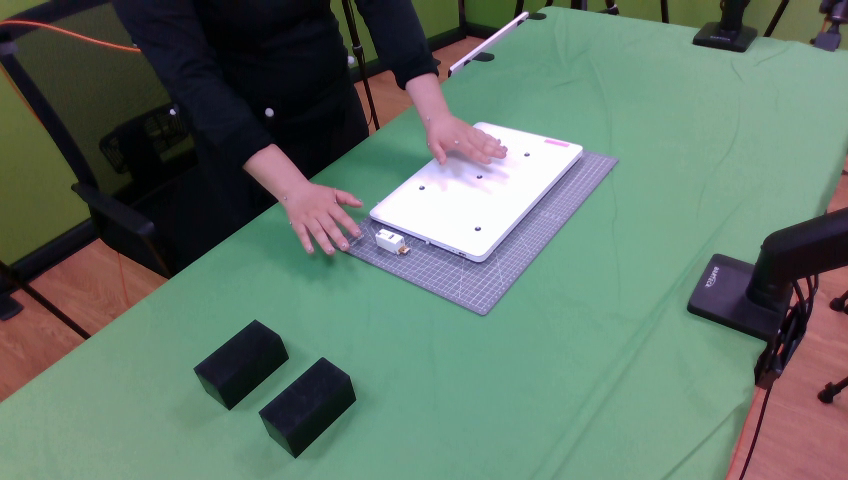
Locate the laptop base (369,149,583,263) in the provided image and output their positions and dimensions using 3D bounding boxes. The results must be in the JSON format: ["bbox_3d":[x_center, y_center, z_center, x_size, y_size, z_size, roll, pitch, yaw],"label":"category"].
[{"bbox_3d":[0.101,-0.096,1.071,0.233,0.023,0.355,20,47,33],"label":"laptop base"}]

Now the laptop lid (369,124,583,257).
[{"bbox_3d":[0.097,-0.106,1.065,0.239,0.013,0.358,22,48,33],"label":"laptop lid"}]

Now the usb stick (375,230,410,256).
[{"bbox_3d":[-0.049,0.007,0.962,0.059,0.027,0.021,25,47,28],"label":"usb stick"}]
